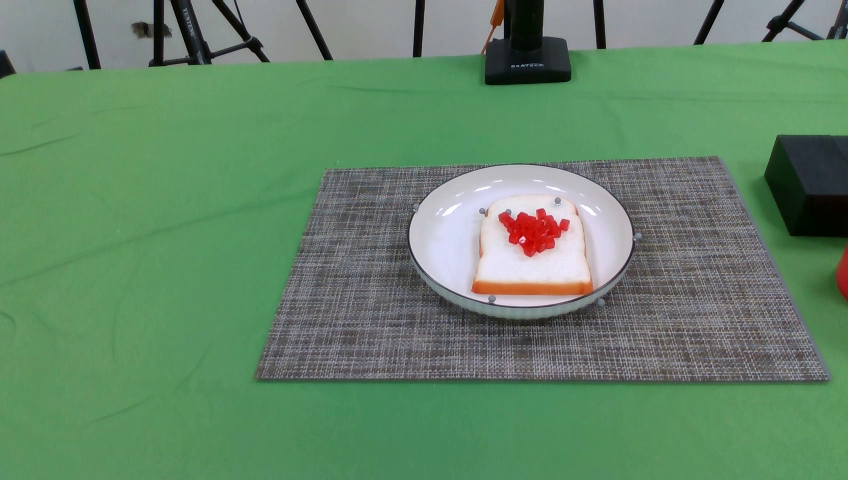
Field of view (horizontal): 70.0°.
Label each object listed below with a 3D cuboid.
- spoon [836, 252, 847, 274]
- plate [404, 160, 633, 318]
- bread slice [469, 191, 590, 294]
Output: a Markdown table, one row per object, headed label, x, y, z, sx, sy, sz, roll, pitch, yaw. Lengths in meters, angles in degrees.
| label | x | y | z | sx | sy | sz | roll | pitch | yaw |
| --- | --- | --- | --- | --- | --- | --- | --- | --- | --- |
| spoon | 0.420 | -0.001 | 0.457 | 0.022 | 0.193 | 0.041 | 50 | 54 | -9 |
| plate | 0.086 | -0.003 | 0.574 | 0.209 | 0.038 | 0.207 | -3 | 42 | 3 |
| bread slice | 0.098 | -0.002 | 0.574 | 0.105 | 0.019 | 0.130 | 1 | 43 | 7 |
